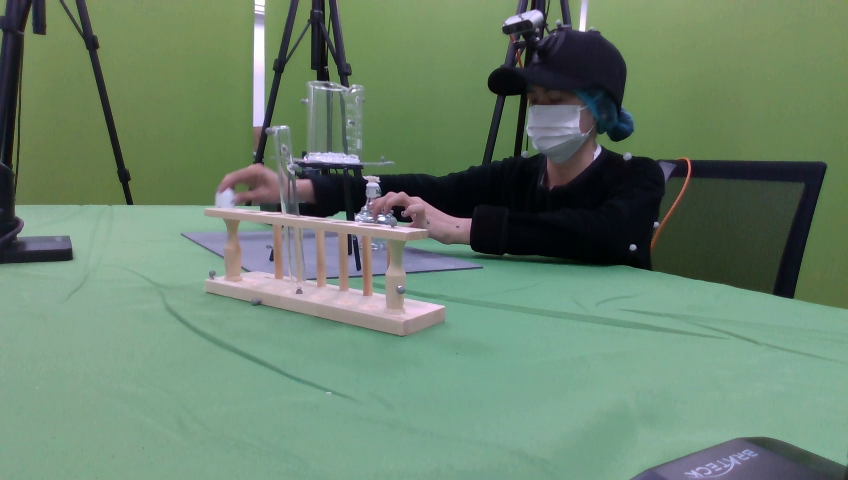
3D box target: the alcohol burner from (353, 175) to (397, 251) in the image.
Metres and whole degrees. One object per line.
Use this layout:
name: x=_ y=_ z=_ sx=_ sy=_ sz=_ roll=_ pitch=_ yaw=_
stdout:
alcohol burner: x=-0.082 y=-0.043 z=0.950 sx=0.078 sy=0.119 sz=0.078 roll=1 pitch=8 yaw=0

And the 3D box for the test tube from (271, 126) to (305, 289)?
test tube: x=-0.124 y=-0.028 z=0.554 sx=0.017 sy=0.150 sz=0.017 roll=-5 pitch=7 yaw=1

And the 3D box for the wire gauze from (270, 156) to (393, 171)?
wire gauze: x=-0.122 y=-0.100 z=0.786 sx=0.122 sy=0.011 sz=0.124 roll=-5 pitch=14 yaw=-38

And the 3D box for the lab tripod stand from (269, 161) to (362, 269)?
lab tripod stand: x=-0.125 y=-0.036 z=0.794 sx=0.148 sy=0.131 sz=0.148 roll=5 pitch=7 yaw=0

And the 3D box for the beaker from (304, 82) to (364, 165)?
beaker: x=-0.115 y=-0.148 z=0.779 sx=0.074 sy=0.100 sz=0.083 roll=-2 pitch=10 yaw=-30

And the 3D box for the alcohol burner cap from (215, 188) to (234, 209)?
alcohol burner cap: x=-0.328 y=-0.062 z=0.995 sx=0.034 sy=0.048 sz=0.034 roll=2 pitch=0 yaw=0

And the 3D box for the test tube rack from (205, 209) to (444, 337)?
test tube rack: x=-0.100 y=0.021 z=0.565 sx=0.241 sy=0.085 sz=0.067 roll=7 pitch=9 yaw=32
